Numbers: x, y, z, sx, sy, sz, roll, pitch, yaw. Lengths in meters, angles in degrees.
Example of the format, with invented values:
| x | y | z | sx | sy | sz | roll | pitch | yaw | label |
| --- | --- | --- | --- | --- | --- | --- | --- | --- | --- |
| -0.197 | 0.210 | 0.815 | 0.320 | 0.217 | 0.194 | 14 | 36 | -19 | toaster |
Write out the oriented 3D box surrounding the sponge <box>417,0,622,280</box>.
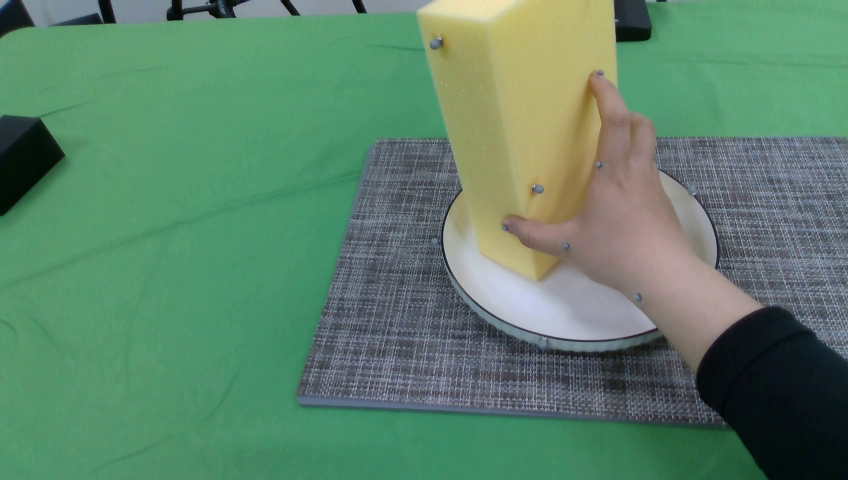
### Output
| x | y | z | sx | sy | sz | roll | pitch | yaw | label |
| --- | --- | --- | --- | --- | --- | --- | --- | --- | --- |
| 0.081 | -0.086 | 0.437 | 0.118 | 0.209 | 0.060 | -41 | 45 | -23 | sponge |

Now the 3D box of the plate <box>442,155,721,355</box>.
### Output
| x | y | z | sx | sy | sz | roll | pitch | yaw | label |
| --- | --- | --- | --- | --- | --- | --- | --- | --- | --- |
| 0.119 | 0.006 | 0.478 | 0.207 | 0.039 | 0.205 | -4 | 46 | 4 | plate |
